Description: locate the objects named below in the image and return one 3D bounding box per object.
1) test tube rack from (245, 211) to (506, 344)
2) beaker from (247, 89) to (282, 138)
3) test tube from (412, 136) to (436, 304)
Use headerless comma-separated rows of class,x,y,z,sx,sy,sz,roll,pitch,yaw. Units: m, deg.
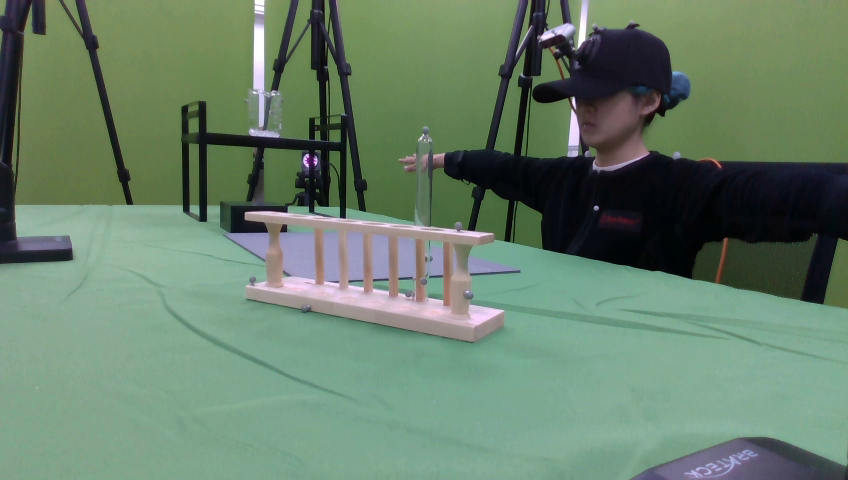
test tube rack,-0.049,0.025,0.547,0.241,0.085,0.067,7,8,28
beaker,-0.347,-0.274,1.320,0.074,0.100,0.083,-1,9,-27
test tube,0.000,-0.017,0.537,0.017,0.150,0.017,2,8,0
